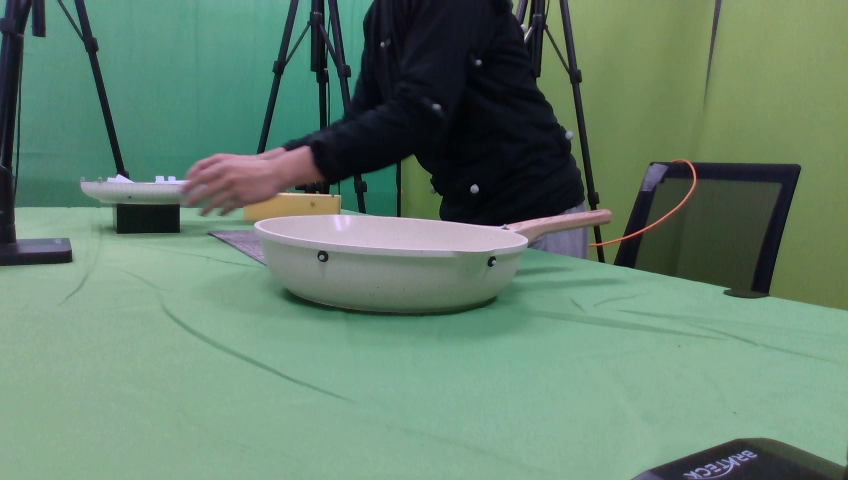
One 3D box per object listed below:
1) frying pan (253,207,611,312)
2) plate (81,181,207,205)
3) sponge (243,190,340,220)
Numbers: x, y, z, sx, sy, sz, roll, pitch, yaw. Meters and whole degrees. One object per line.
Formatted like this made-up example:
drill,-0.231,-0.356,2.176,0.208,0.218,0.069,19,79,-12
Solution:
frying pan,0.052,-0.001,0.715,0.490,0.102,0.305,-11,15,-31
plate,-0.505,-0.086,1.100,0.208,0.039,0.207,1,6,0
sponge,-0.298,-0.077,1.387,0.207,0.061,0.118,2,7,-7
